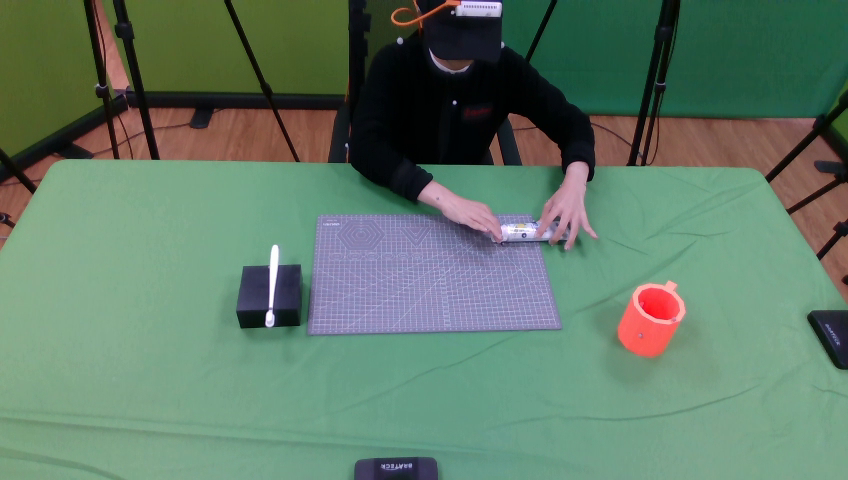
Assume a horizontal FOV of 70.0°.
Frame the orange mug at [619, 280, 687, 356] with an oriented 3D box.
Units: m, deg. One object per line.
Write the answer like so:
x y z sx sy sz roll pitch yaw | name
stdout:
0.401 0.125 1.045 0.083 0.101 0.126 30 56 24 | orange mug

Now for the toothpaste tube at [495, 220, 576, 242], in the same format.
0.222 -0.016 1.218 0.165 0.034 0.054 -4 52 -14 | toothpaste tube

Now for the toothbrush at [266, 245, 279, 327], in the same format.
-0.261 0.073 1.042 0.014 0.017 0.180 -6 46 -3 | toothbrush

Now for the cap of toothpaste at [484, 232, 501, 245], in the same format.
0.136 -0.005 1.196 0.037 0.037 0.011 26 68 20 | cap of toothpaste
